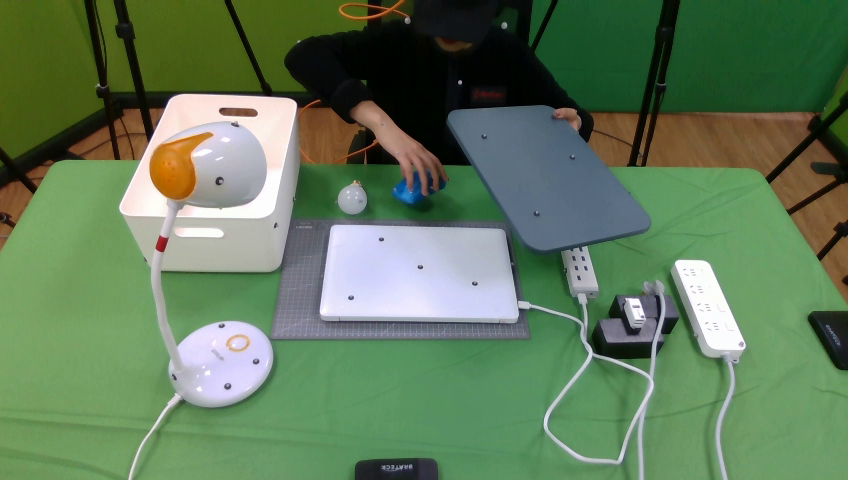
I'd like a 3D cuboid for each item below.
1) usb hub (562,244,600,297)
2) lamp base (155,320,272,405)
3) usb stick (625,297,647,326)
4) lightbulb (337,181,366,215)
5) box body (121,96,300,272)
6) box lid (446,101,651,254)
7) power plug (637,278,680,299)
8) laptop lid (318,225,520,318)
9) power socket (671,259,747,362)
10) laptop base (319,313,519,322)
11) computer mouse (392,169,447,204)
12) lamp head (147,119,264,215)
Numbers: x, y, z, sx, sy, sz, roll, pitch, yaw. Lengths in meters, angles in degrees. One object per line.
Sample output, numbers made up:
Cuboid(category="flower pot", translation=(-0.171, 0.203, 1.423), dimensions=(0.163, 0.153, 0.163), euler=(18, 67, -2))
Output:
Cuboid(category="usb hub", translation=(0.300, 0.055, 1.162), dimensions=(0.049, 0.025, 0.124), euler=(2, 46, -3))
Cuboid(category="lamp base", translation=(-0.330, 0.149, 0.918), dimensions=(0.160, 0.181, 0.179), euler=(26, 52, 20))
Cuboid(category="usb stick", translation=(0.360, 0.117, 1.034), dimensions=(0.021, 0.027, 0.059), euler=(-2, 44, -2))
Cuboid(category="lightbulb", translation=(-0.147, -0.094, 1.260), dimensions=(0.059, 0.060, 0.107), euler=(4, 30, 0))
Cuboid(category="box body", translation=(-0.387, -0.112, 1.182), dimensions=(0.254, 0.161, 0.361), euler=(1, 46, -3))
Cuboid(category="box lid", translation=(0.220, -0.129, 1.106), dimensions=(0.264, 0.015, 0.369), euler=(-11, 52, -22))
Cuboid(category="power plug", translation=(0.434, 0.098, 1.121), dimensions=(0.073, 0.053, 0.035), euler=(31, 42, -18))
Cuboid(category="laptop lid", translation=(-0.009, 0.053, 1.131), dimensions=(0.357, 0.013, 0.240), euler=(2, 43, -2))
Cuboid(category="power socket", translation=(0.516, 0.119, 1.108), dimensions=(0.072, 0.033, 0.225), euler=(1, 46, -2))
Cuboid(category="laptop base", translation=(-0.009, 0.063, 1.137), dimensions=(0.354, 0.023, 0.234), euler=(1, 42, -3))
Cuboid(category="computer mouse", translation=(-0.009, -0.114, 1.256), dimensions=(0.062, 0.041, 0.117), euler=(29, 45, 33))
Cuboid(category="lamp head", translation=(-0.276, -0.087, 0.740), dimensions=(0.112, 0.112, 0.123), euler=(20, 23, 15))
